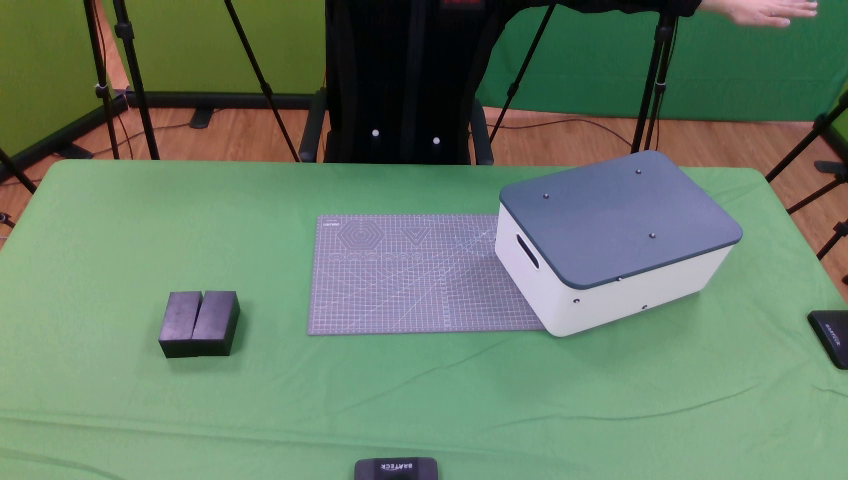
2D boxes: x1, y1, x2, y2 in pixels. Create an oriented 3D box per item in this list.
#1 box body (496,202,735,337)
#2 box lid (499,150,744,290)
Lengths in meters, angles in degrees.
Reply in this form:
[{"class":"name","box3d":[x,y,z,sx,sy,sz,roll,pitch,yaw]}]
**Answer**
[{"class":"box body","box3d":[0.340,0.003,1.118,0.364,0.161,0.252,-15,49,-18]},{"class":"box lid","box3d":[0.341,-0.049,1.065,0.372,0.015,0.261,-15,48,-18]}]
